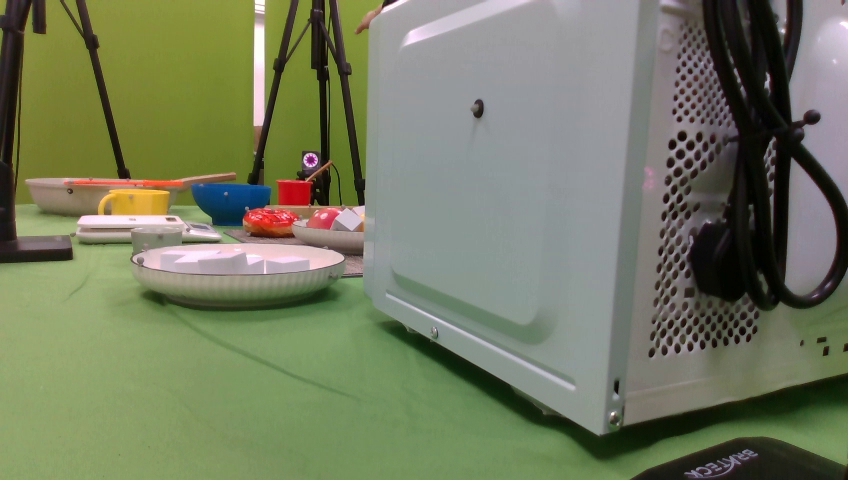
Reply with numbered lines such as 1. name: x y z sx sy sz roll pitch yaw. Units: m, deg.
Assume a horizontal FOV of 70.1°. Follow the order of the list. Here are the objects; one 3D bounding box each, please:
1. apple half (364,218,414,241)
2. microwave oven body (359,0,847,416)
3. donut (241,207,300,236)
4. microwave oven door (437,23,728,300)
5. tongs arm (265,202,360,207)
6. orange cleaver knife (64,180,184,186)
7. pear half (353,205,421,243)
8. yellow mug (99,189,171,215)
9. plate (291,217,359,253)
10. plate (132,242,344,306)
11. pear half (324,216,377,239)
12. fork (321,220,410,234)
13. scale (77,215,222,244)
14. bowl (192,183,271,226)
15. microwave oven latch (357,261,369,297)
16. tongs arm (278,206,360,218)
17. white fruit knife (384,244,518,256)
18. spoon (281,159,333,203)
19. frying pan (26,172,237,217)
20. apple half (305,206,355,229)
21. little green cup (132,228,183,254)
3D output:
1. apple half: -0.054 -0.019 0.968 0.081 0.033 0.081 -2 9 1
2. microwave oven body: 0.211 -0.047 0.475 0.444 0.260 0.324 -1 7 -28
3. donut: -0.263 -0.031 1.039 0.099 0.048 0.099 5 9 0
4. microwave oven door: 0.180 -0.072 0.621 0.358 0.243 0.039 -2 8 -29
5. tongs arm: -0.217 -0.076 1.469 0.389 0.027 0.028 0 1 -26
6. orange cleaver knife: -0.595 -0.114 1.212 0.212 0.012 0.077 -4 6 -41
7. pear half: -0.051 -0.023 0.905 0.110 0.056 0.076 2 -2 -38
8. yellow mug: -0.519 -0.055 1.080 0.099 0.064 0.131 7 10 26
9. plate: -0.103 -0.009 0.945 0.209 0.038 0.209 2 7 0
10. plate: -0.187 0.033 0.625 0.208 0.039 0.207 2 7 0
11. pear half: -0.119 -0.023 0.996 0.088 0.031 0.070 -4 23 -27
12. fork: -0.105 -0.025 1.131 0.208 0.028 0.018 -1 35 -40
13. scale: -0.434 -0.019 0.963 0.202 0.031 0.148 -1 9 -27
14. bowl: -0.382 -0.070 1.202 0.151 0.077 0.151 3 7 0
15. microwave oven latch: -0.019 0.033 0.531 0.079 0.029 0.030 -1 7 -26
16. tongs arm: -0.170 -0.067 1.401 0.387 0.026 0.050 -2 6 -39
17. white fruit knife: 0.041 0.016 0.878 0.208 0.016 0.027 -2 -2 -24
18. spoon: -0.316 -0.159 1.640 0.194 0.022 0.041 -50 32 -20
19. frying pan: -0.624 -0.118 1.387 0.305 0.102 0.490 8 17 32
20. apple half: -0.138 -0.025 0.917 0.081 0.053 0.074 0 10 -43
21. little green cup: -0.342 0.006 0.779 0.061 0.038 0.061 2 8 0
